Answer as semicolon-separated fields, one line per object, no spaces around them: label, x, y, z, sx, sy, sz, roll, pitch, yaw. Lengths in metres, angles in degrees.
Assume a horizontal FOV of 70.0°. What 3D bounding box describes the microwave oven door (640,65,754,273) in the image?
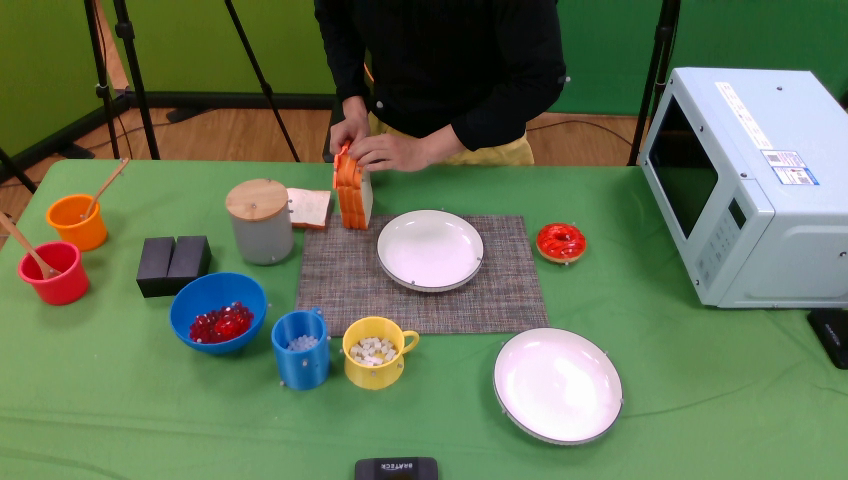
microwave oven door;0.523;-0.147;1.193;0.039;0.245;0.353;0;47;-3

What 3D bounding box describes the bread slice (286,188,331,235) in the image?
bread slice;-0.263;-0.064;1.245;0.132;0.019;0.104;12;51;-8

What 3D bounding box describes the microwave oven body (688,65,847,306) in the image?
microwave oven body;0.669;-0.111;1.176;0.326;0.261;0.439;0;46;-3

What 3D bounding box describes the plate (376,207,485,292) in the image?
plate;0.012;0.021;1.158;0.209;0.038;0.208;2;47;-2

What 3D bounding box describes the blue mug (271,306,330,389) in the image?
blue mug;-0.188;0.163;0.969;0.082;0.106;0.116;15;47;10

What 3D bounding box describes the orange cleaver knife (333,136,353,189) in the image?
orange cleaver knife;-0.166;-0.162;1.239;0.012;0.077;0.210;5;23;0

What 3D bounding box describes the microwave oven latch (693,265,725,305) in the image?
microwave oven latch;0.523;0.081;1.115;0.030;0.029;0.078;2;46;-1

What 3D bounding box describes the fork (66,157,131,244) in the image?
fork;-0.608;-0.074;1.132;0.207;0.019;0.028;-52;48;10

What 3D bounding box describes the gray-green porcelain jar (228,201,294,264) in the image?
gray-green porcelain jar;-0.299;-0.027;1.126;0.106;0.127;0.105;2;46;-2

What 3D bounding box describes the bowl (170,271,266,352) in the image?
bowl;-0.333;0.132;1.006;0.151;0.077;0.150;2;46;-2

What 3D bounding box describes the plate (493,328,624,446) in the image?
plate;0.213;0.236;0.974;0.208;0.039;0.206;2;46;-2

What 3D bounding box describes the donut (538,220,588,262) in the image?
donut;0.273;0.000;1.198;0.099;0.048;0.098;1;47;0

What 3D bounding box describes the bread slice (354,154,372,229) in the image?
bread slice;-0.121;-0.103;1.207;0.018;0.135;0.106;1;48;3

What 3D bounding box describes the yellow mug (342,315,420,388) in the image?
yellow mug;-0.068;0.177;0.990;0.131;0.064;0.099;-15;50;-19

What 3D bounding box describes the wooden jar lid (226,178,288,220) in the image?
wooden jar lid;-0.296;-0.070;1.081;0.108;0.021;0.107;1;45;-1

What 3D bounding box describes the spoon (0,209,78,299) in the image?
spoon;-0.668;0.021;1.040;0.041;0.021;0.194;-41;105;-30
